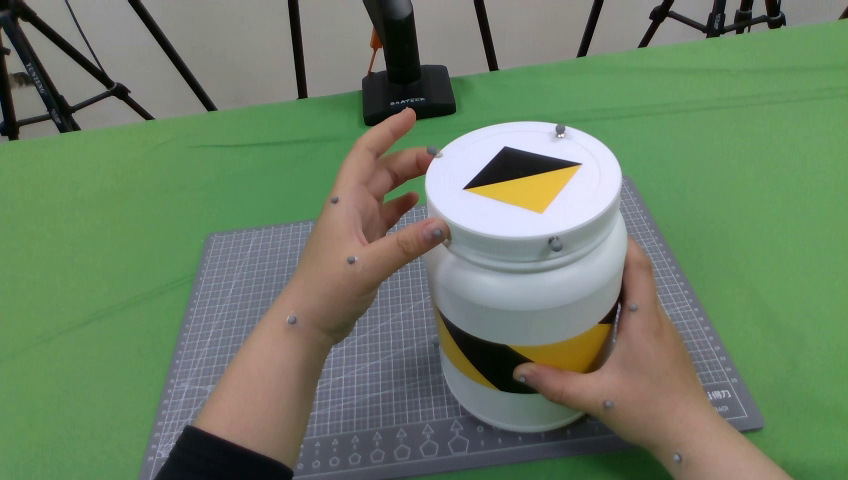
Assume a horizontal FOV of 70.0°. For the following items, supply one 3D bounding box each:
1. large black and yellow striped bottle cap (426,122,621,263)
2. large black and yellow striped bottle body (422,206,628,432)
[{"bbox_3d":[0.058,-0.033,0.361,0.115,0.019,0.114,-5,44,5],"label":"large black and yellow striped bottle cap"},{"bbox_3d":[0.068,0.031,0.418,0.131,0.186,0.129,-5,43,5],"label":"large black and yellow striped bottle body"}]
